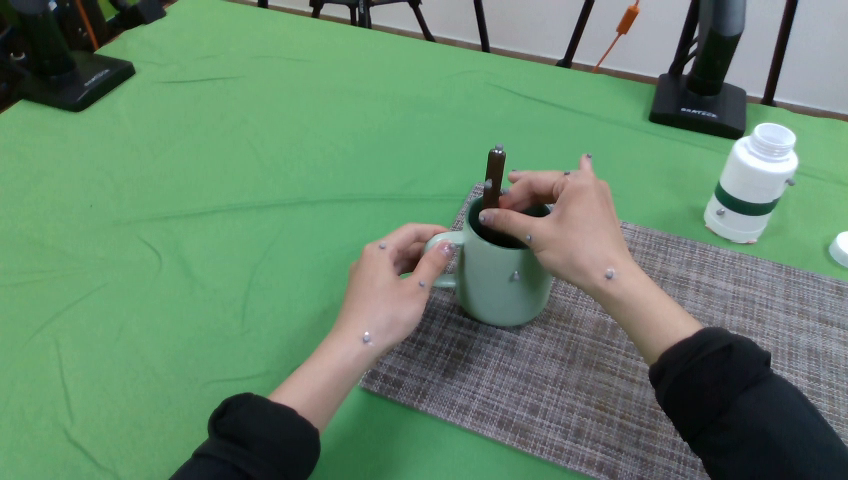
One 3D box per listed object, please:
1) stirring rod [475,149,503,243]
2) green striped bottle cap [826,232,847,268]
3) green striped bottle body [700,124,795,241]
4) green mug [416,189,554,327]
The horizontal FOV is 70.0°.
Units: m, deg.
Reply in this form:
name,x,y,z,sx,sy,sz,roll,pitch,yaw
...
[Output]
name,x,y,z,sx,sy,sz,roll,pitch,yaw
stirring rod,0.053,-0.014,0.524,0.014,0.177,0.006,12,54,8
green striped bottle cap,0.449,0.012,0.634,0.044,0.020,0.044,2,41,-1
green striped bottle body,0.338,-0.061,0.631,0.063,0.120,0.062,1,45,0
green mug,0.055,0.020,0.552,0.125,0.106,0.091,-5,46,-6
